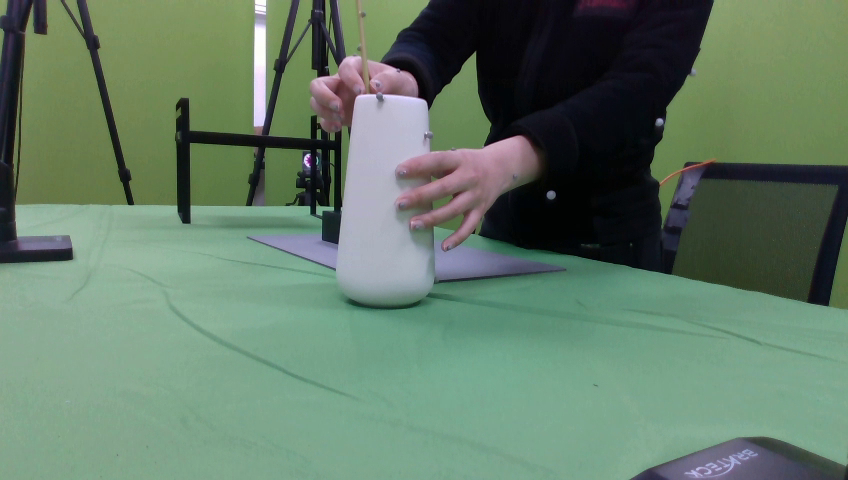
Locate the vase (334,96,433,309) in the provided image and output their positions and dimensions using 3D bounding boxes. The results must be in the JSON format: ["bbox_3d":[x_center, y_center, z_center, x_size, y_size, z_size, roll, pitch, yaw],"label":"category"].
[{"bbox_3d":[-0.039,-0.036,0.589,0.098,0.200,0.098,1,8,0],"label":"vase"}]

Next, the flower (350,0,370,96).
[{"bbox_3d":[-0.054,-0.124,0.582,0.044,0.361,0.038,-7,-7,-12],"label":"flower"}]
